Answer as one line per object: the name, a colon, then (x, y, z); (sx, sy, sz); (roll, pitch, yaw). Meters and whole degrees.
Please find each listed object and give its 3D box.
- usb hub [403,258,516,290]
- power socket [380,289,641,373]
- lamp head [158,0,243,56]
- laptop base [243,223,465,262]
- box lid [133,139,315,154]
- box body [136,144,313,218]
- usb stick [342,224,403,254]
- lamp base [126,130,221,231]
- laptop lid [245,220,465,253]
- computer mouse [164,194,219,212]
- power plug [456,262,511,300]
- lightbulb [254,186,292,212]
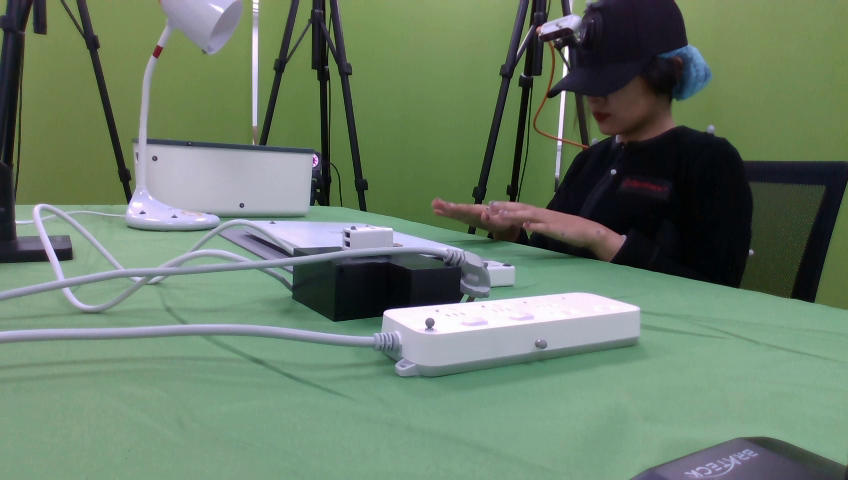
usb hub: (0.042, 0.038, 0.690); (0.126, 0.025, 0.049); (-2, 9, -30)
power socket: (0.072, 0.064, 0.461); (0.228, 0.032, 0.072); (-2, 8, -30)
lamp head: (-0.399, -0.397, 1.057); (0.123, 0.112, 0.112); (27, 5, -7)
laptop base: (-0.126, 0.002, 0.946); (0.237, 0.023, 0.352); (2, 6, -31)
box lid: (-0.466, -0.215, 1.407); (0.373, 0.015, 0.262); (-1, 8, -31)
box body: (-0.467, -0.141, 1.417); (0.366, 0.160, 0.253); (-2, 8, -31)
usb stick: (-0.047, -0.001, 0.567); (0.059, 0.027, 0.021); (0, 5, -32)
lamp base: (-0.469, -0.112, 1.108); (0.179, 0.180, 0.160); (0, 7, 3)
laptop lid: (-0.124, -0.009, 0.945); (0.243, 0.013, 0.355); (1, 7, -29)
computer mouse: (-0.532, -0.084, 1.387); (0.118, 0.041, 0.062); (2, 3, -31)
power plug: (0.051, 0.050, 0.543); (0.035, 0.052, 0.072); (7, 37, -20)
lightbulb: (-0.370, -0.094, 1.492); (0.059, 0.059, 0.108); (8, -11, 40)
